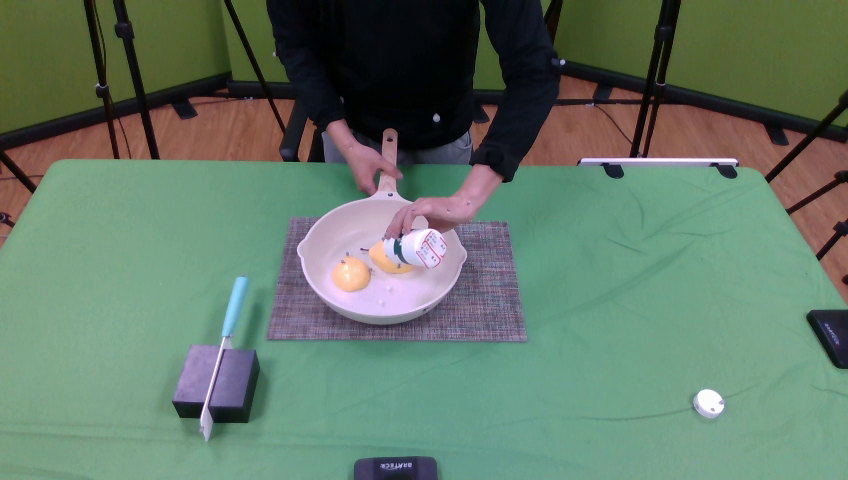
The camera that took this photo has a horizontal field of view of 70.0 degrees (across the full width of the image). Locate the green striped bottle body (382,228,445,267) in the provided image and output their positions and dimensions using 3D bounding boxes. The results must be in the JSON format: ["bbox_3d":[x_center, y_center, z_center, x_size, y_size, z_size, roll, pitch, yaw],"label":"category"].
[{"bbox_3d":[-0.024,0.011,1.021,0.063,0.063,0.119,-33,20,-30],"label":"green striped bottle body"}]

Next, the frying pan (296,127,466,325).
[{"bbox_3d":[-0.076,-0.045,1.172,0.307,0.103,0.485,3,55,-2],"label":"frying pan"}]

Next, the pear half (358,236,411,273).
[{"bbox_3d":[-0.074,0.017,1.145,0.110,0.056,0.076,10,40,8],"label":"pear half"}]

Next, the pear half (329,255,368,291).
[{"bbox_3d":[-0.140,0.053,1.121,0.070,0.031,0.087,-7,51,-16],"label":"pear half"}]

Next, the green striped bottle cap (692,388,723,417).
[{"bbox_3d":[0.460,0.263,0.984,0.044,0.020,0.044,3,47,-3],"label":"green striped bottle cap"}]

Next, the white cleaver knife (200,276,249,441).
[{"bbox_3d":[-0.321,0.177,0.972,0.021,0.066,0.284,7,48,-5],"label":"white cleaver knife"}]
